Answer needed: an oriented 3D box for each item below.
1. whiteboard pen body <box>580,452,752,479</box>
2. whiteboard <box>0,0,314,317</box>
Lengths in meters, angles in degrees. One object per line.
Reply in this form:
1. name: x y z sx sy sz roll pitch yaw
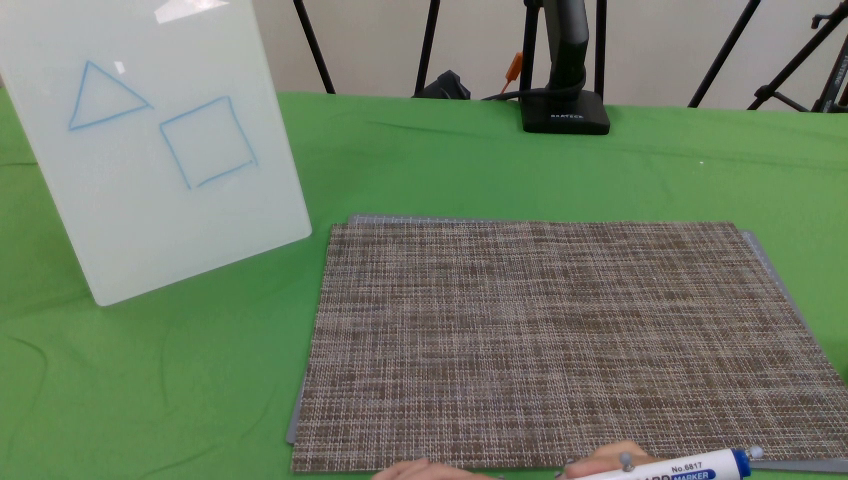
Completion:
1. whiteboard pen body: 0.093 0.130 0.311 0.140 0.017 0.017 -17 35 15
2. whiteboard: -0.269 -0.118 0.611 0.218 0.307 0.142 -21 24 -25
